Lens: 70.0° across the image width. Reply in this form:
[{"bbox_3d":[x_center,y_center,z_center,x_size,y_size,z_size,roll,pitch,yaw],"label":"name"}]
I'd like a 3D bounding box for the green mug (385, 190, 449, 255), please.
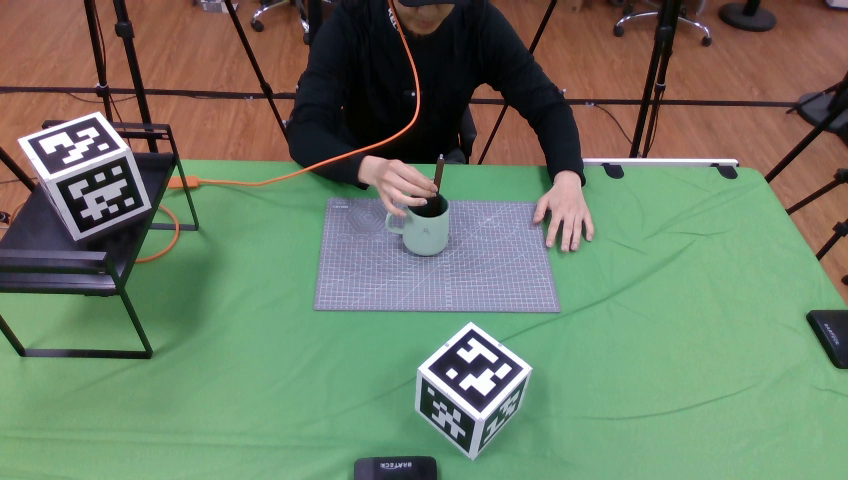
[{"bbox_3d":[-0.013,-0.033,1.166,0.125,0.105,0.092,1,46,-2],"label":"green mug"}]

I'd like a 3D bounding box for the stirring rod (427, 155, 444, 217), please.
[{"bbox_3d":[0.019,-0.087,1.135,0.014,0.177,0.006,14,46,4],"label":"stirring rod"}]
